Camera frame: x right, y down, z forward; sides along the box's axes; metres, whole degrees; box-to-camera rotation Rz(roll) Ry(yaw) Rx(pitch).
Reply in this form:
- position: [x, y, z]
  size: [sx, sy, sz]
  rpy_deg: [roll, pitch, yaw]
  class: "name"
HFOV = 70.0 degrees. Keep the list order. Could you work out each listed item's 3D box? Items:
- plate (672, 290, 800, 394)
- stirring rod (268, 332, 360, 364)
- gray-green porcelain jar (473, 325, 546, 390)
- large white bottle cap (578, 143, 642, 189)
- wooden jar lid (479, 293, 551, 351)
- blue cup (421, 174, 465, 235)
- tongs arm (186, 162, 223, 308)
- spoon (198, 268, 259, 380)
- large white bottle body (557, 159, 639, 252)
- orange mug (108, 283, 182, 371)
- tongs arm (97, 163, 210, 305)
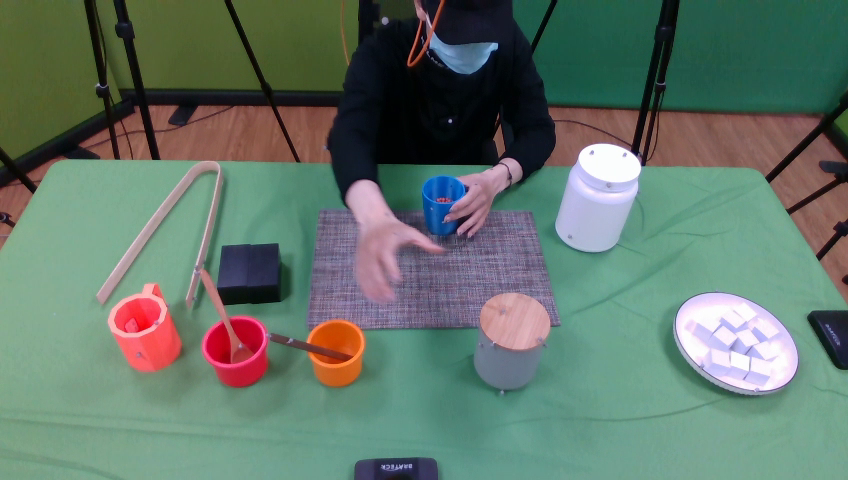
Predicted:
- position: [0.533, 0.179, 1.050]
  size: [0.208, 0.039, 0.206]
  rpy_deg: [2, 46, -2]
  class: "plate"
- position: [-0.167, 0.169, 0.942]
  size: [0.177, 0.006, 0.014]
  rpy_deg: [26, 27, -41]
  class: "stirring rod"
- position: [0.135, 0.170, 0.969]
  size: [0.106, 0.127, 0.105]
  rpy_deg: [2, 46, -2]
  class: "gray-green porcelain jar"
- position: [0.344, -0.139, 1.123]
  size: [0.115, 0.018, 0.114]
  rpy_deg: [2, 47, -2]
  class: "large white bottle cap"
- position: [0.138, 0.127, 0.925]
  size: [0.108, 0.021, 0.107]
  rpy_deg: [1, 47, -1]
  class: "wooden jar lid"
- position: [0.037, -0.064, 1.200]
  size: [0.092, 0.101, 0.092]
  rpy_deg: [0, 46, 0]
  class: "blue cup"
- position: [-0.436, -0.024, 1.181]
  size: [0.051, 0.027, 0.382]
  rpy_deg: [-3, 45, 0]
  class: "tongs arm"
- position: [-0.312, 0.133, 0.962]
  size: [0.041, 0.021, 0.194]
  rpy_deg: [-24, 96, -21]
  class: "spoon"
- position: [0.340, -0.081, 1.185]
  size: [0.131, 0.185, 0.130]
  rpy_deg: [2, 46, -1]
  class: "large white bottle body"
- position: [-0.446, 0.134, 0.982]
  size: [0.083, 0.101, 0.125]
  rpy_deg: [-1, 51, -5]
  class: "orange mug"
- position: [-0.520, -0.027, 1.184]
  size: [0.028, 0.028, 0.385]
  rpy_deg: [5, 45, 12]
  class: "tongs arm"
